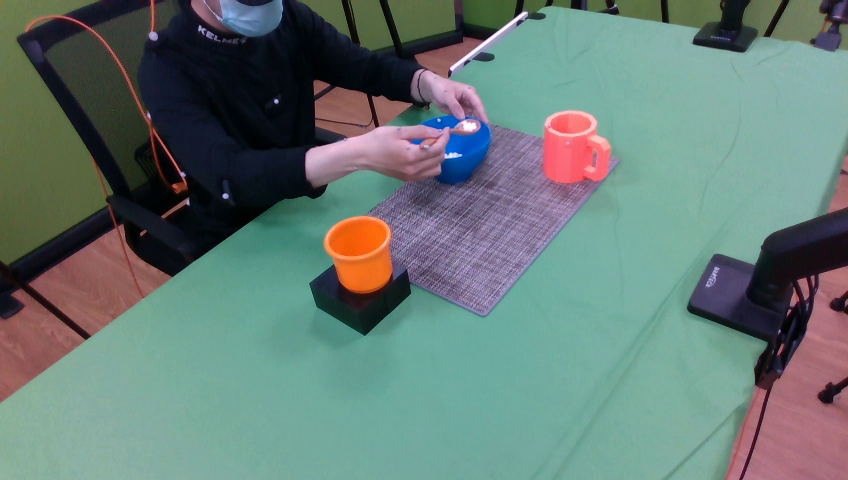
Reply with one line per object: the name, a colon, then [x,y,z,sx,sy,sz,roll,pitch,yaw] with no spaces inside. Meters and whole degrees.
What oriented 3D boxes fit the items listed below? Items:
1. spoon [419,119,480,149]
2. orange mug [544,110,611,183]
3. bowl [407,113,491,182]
spoon: [0.039,-0.170,0.961,0.041,0.021,0.194,20,25,22]
orange mug: [0.266,-0.157,1.049,0.084,0.101,0.125,-33,42,-26]
bowl: [0.049,-0.158,1.096,0.151,0.077,0.150,-4,41,4]
